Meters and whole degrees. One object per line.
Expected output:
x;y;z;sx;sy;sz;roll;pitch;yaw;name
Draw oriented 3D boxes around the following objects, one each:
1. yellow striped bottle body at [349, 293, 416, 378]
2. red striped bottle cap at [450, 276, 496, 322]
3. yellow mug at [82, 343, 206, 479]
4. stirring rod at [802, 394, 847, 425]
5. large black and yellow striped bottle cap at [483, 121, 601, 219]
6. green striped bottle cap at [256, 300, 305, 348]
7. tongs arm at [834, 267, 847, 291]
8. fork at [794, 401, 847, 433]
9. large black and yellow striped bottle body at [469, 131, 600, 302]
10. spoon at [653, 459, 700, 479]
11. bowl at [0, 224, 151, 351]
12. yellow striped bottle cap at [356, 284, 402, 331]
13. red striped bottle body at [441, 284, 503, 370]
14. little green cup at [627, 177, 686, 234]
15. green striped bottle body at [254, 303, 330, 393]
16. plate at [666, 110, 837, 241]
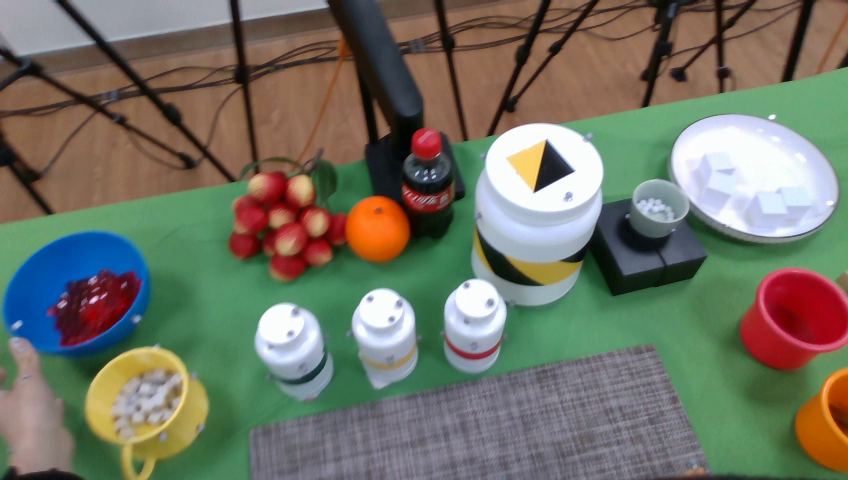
-0.042;0.094;0.631;0.063;0.121;0.062;-1;57;2;yellow striped bottle body
0.048;0.057;0.592;0.044;0.018;0.044;2;55;-2;red striped bottle cap
-0.284;0.177;0.614;0.100;0.064;0.129;-2;57;-1;yellow mug
0.423;0.182;0.555;0.014;0.006;0.175;-17;15;-10;stirring rod
0.116;-0.072;0.598;0.115;0.019;0.114;-1;56;2;large black and yellow striped bottle cap
-0.138;0.080;0.580;0.044;0.020;0.044;0;55;0;green striped bottle cap
0.585;0.173;0.619;0.051;0.027;0.381;-21;60;-15;tongs arm
0.451;0.177;0.552;0.028;0.019;0.206;-43;21;-29;fork
0.119;-0.027;0.670;0.131;0.185;0.129;0;57;1;large black and yellow striped bottle body
0.130;0.223;0.476;0.194;0.022;0.041;-38;69;22;spoon
-0.374;0.065;0.681;0.151;0.077;0.150;0;57;0;bowl
-0.044;0.065;0.588;0.044;0.019;0.044;0;58;0;yellow striped bottle cap
0.051;0.086;0.635;0.063;0.121;0.062;-3;56;4;red striped bottle body
0.266;-0.038;0.701;0.061;0.039;0.061;0;55;0;little green cup
-0.136;0.108;0.624;0.063;0.120;0.062;0;56;1;green striped bottle body
0.418;-0.083;0.788;0.209;0.038;0.207;0;57;1;plate
